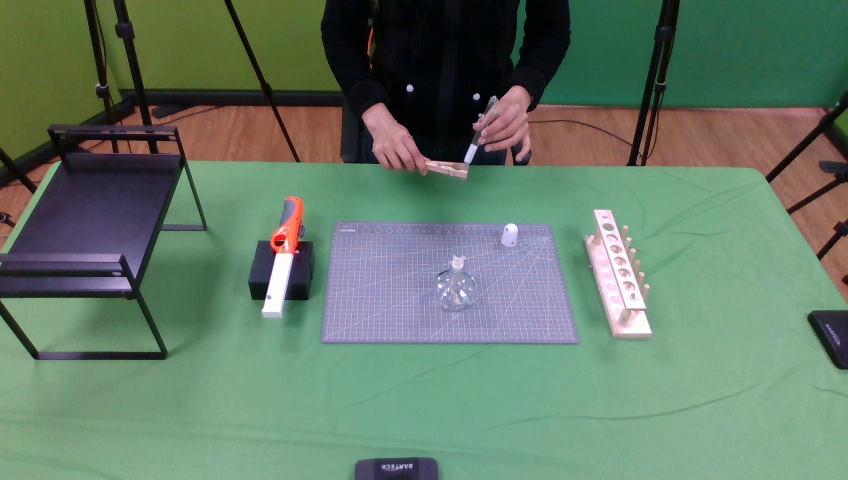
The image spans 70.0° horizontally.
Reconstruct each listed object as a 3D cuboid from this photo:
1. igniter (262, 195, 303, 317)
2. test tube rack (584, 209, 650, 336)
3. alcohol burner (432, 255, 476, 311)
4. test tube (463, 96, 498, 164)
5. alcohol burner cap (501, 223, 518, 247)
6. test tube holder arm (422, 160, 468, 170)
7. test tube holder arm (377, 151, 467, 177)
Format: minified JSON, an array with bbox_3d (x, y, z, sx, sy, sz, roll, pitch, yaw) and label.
[{"bbox_3d":[-0.253,0.020,1.090,0.057,0.025,0.275,0,49,-1],"label":"igniter"},{"bbox_3d":[0.365,0.056,1.129,0.067,0.085,0.240,1,46,-3],"label":"test tube rack"},{"bbox_3d":[0.055,0.070,1.068,0.078,0.119,0.077,3,45,-3],"label":"alcohol burner"},{"bbox_3d":[0.099,-0.192,1.079,0.017,0.151,0.017,11,48,-12],"label":"test tube"},{"bbox_3d":[0.172,-0.013,1.206,0.034,0.048,0.033,1,46,-1],"label":"alcohol burner cap"},{"bbox_3d":[0.040,-0.143,1.162,0.088,0.015,0.010,3,45,0],"label":"test tube holder arm"},{"bbox_3d":[-0.005,-0.146,1.163,0.178,0.015,0.013,12,45,9],"label":"test tube holder arm"}]
